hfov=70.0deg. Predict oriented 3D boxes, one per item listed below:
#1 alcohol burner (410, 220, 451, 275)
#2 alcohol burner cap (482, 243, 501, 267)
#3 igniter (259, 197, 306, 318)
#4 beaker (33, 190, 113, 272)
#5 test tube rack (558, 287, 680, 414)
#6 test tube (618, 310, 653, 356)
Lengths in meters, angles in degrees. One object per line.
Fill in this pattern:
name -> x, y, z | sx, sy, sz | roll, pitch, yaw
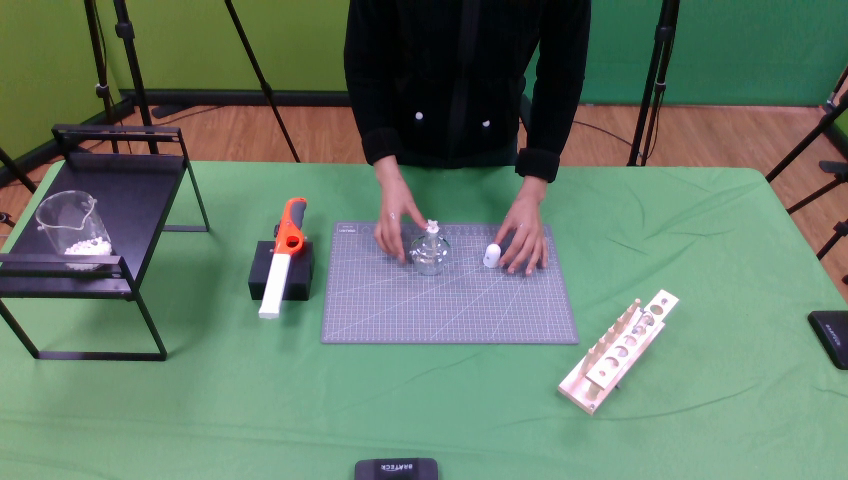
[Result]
alcohol burner -> 0.013, 0.008, 1.120 | 0.078, 0.120, 0.077 | 1, 48, -1
alcohol burner cap -> 0.131, 0.025, 1.161 | 0.034, 0.048, 0.033 | 5, 48, -5
igniter -> -0.252, 0.021, 1.088 | 0.057, 0.025, 0.275 | 5, 48, -3
beaker -> -0.493, -0.008, 0.864 | 0.083, 0.101, 0.074 | 37, 55, 27
test tube rack -> 0.326, 0.170, 1.009 | 0.066, 0.085, 0.242 | 36, 54, 27
test tube -> 0.329, 0.156, 0.955 | 0.017, 0.151, 0.017 | 2, 51, -2
